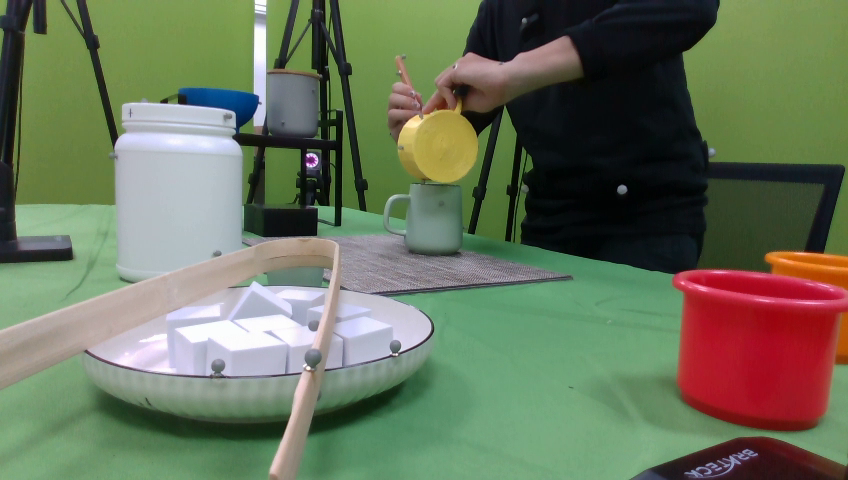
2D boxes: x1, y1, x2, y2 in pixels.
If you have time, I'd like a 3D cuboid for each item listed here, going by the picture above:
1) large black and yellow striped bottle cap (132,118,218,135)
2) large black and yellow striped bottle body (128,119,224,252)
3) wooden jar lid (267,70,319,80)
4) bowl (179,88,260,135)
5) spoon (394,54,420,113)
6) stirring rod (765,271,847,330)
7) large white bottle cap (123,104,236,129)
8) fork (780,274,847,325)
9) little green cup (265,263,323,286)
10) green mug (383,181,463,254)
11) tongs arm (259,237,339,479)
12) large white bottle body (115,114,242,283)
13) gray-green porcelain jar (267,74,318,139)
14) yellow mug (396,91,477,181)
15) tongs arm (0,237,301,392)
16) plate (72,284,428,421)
[{"bbox_3d":[-0.359,-0.164,0.875,0.115,0.019,0.115,2,6,0],"label":"large black and yellow striped bottle cap"},{"bbox_3d":[-0.361,-0.081,0.887,0.131,0.184,0.130,2,8,0],"label":"large black and yellow striped bottle body"},{"bbox_3d":[-0.275,-0.339,1.271,0.108,0.020,0.108,5,6,0],"label":"wooden jar lid"},{"bbox_3d":[-0.400,-0.248,1.188,0.151,0.077,0.151,2,6,0],"label":"bowl"},{"bbox_3d":[-0.012,-0.196,0.906,0.041,0.193,0.022,-22,-18,4],"label":"spoon"},{"bbox_3d":[0.352,0.020,0.481,0.176,0.006,0.014,-40,-7,17],"label":"stirring rod"},{"bbox_3d":[-0.266,-0.134,0.663,0.115,0.018,0.115,3,7,0],"label":"large white bottle cap"},{"bbox_3d":[0.332,0.018,0.443,0.028,0.018,0.207,-3,-35,-16],"label":"fork"},{"bbox_3d":[-0.134,0.034,0.628,0.061,0.038,0.061,3,7,0],"label":"little green cup"},{"bbox_3d":[-0.001,-0.035,0.922,0.126,0.105,0.092,0,8,-16],"label":"green mug"},{"bbox_3d":[-0.074,0.040,0.345,0.051,0.026,0.384,-1,9,-3],"label":"tongs arm"},{"bbox_3d":[-0.270,-0.051,0.673,0.131,0.184,0.130,2,8,0],"label":"large white bottle body"},{"bbox_3d":[-0.277,-0.279,1.280,0.106,0.126,0.106,2,7,0],"label":"gray-green porcelain jar"},{"bbox_3d":[0.023,-0.151,0.864,0.100,0.130,0.063,19,2,-24],"label":"yellow mug"},{"bbox_3d":[-0.158,0.038,0.346,0.028,0.028,0.388,-3,8,11],"label":"tongs arm"},{"bbox_3d":[-0.102,0.066,0.380,0.208,0.039,0.207,3,7,0],"label":"plate"}]
